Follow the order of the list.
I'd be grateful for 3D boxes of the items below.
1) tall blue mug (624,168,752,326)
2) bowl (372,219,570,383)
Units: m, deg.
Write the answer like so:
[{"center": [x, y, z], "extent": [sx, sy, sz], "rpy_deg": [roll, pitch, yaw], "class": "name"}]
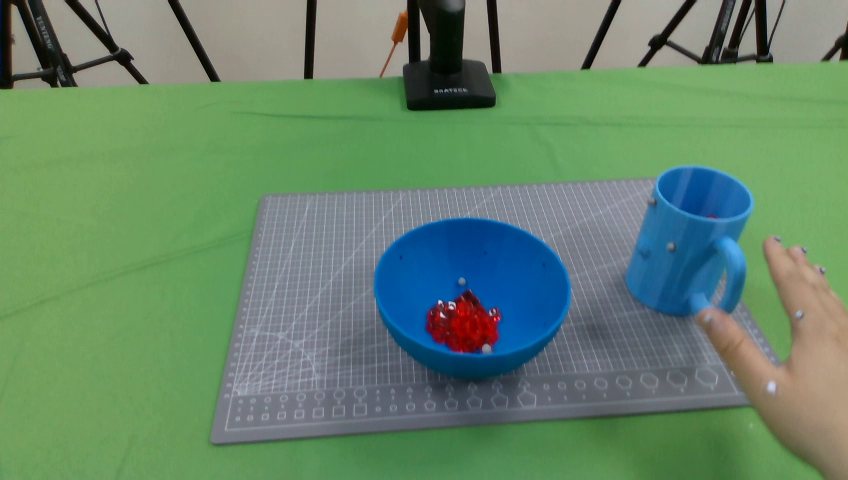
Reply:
[{"center": [0.233, 0.012, 0.515], "extent": [0.078, 0.109, 0.106], "rpy_deg": [-27, 48, -28], "class": "tall blue mug"}, {"center": [0.035, 0.060, 0.482], "extent": [0.151, 0.077, 0.150], "rpy_deg": [1, 41, 0], "class": "bowl"}]
